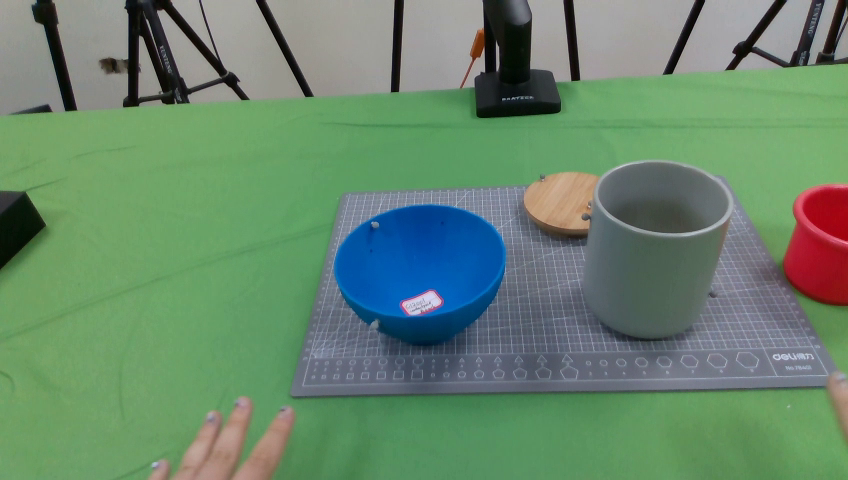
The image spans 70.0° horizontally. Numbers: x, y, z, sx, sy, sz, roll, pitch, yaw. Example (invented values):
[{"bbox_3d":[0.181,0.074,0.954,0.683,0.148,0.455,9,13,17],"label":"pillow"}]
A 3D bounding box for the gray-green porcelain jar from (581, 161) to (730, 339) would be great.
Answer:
[{"bbox_3d":[0.191,0.013,0.519,0.106,0.128,0.105,-4,40,3],"label":"gray-green porcelain jar"}]

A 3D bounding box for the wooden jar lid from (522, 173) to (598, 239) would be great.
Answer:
[{"bbox_3d":[0.162,-0.037,0.669,0.108,0.021,0.107,-4,38,3],"label":"wooden jar lid"}]

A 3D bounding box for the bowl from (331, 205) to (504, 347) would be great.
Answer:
[{"bbox_3d":[-0.003,0.043,0.546,0.151,0.077,0.150,-3,40,3],"label":"bowl"}]

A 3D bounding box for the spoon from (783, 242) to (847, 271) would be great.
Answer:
[{"bbox_3d":[0.403,-0.006,0.507,0.022,0.193,0.041,53,52,-5],"label":"spoon"}]
